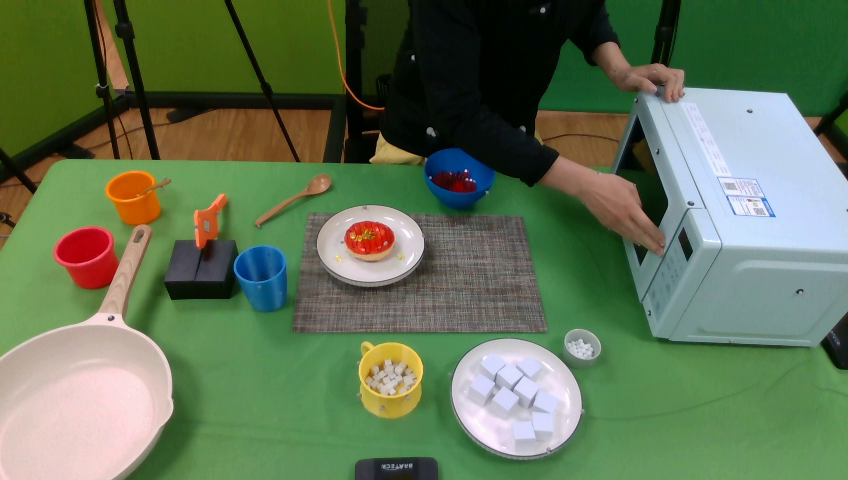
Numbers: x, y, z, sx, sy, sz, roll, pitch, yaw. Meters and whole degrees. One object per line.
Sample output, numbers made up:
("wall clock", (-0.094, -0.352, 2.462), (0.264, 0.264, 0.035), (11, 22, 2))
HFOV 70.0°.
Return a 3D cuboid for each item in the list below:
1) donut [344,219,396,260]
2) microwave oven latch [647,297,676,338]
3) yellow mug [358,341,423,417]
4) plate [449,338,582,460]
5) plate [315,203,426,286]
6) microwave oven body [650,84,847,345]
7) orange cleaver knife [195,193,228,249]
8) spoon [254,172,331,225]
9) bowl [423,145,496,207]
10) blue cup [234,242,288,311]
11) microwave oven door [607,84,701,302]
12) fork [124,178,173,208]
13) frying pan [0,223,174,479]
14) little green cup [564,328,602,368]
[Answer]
("donut", (-0.103, -0.003, 1.157), (0.099, 0.048, 0.098), (3, 43, -2))
("microwave oven latch", (0.413, 0.133, 1.060), (0.030, 0.029, 0.078), (5, 46, 2))
("yellow mug", (-0.062, 0.209, 0.961), (0.100, 0.064, 0.130), (-29, 54, -27))
("plate", (0.141, 0.251, 0.955), (0.208, 0.039, 0.206), (2, 47, -2))
("plate", (-0.101, 0.012, 1.159), (0.209, 0.038, 0.208), (2, 46, -2))
("microwave oven body", (0.569, -0.054, 1.116), (0.326, 0.261, 0.439), (2, 46, -1))
("orange cleaver knife", (-0.406, -0.041, 1.163), (0.012, 0.077, 0.210), (-1, 18, -3))
("spoon", (-0.272, -0.087, 1.257), (0.193, 0.022, 0.041), (-37, 78, -32))
("bowl", (0.073, -0.123, 1.277), (0.151, 0.077, 0.150), (2, 46, -2))
("blue cup", (-0.276, 0.071, 1.052), (0.093, 0.101, 0.092), (1, 48, -1))
("microwave oven door", (0.420, -0.096, 1.138), (0.039, 0.245, 0.353), (4, 46, -1))
("fork", (-0.525, -0.090, 1.154), (0.207, 0.019, 0.028), (-17, 27, 45))
("frying pan", (-0.504, 0.169, 0.941), (0.307, 0.103, 0.485), (5, 54, -1))
("little green cup", (0.266, 0.185, 1.025), (0.061, 0.039, 0.061), (3, 45, -2))
